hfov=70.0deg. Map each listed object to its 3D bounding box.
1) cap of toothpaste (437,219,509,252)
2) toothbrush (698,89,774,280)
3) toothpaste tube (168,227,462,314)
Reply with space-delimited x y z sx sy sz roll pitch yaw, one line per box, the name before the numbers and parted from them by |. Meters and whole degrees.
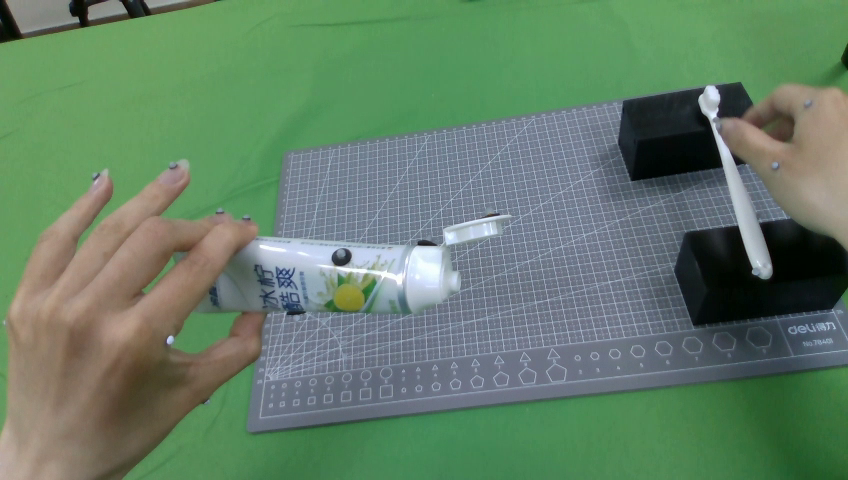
cap of toothpaste | 0.025 -0.002 0.297 0.037 0.037 0.011 -13 84 2
toothbrush | 0.233 -0.049 0.454 0.014 0.017 0.180 2 55 1
toothpaste tube | -0.060 0.018 0.322 0.164 0.055 0.034 0 21 16
